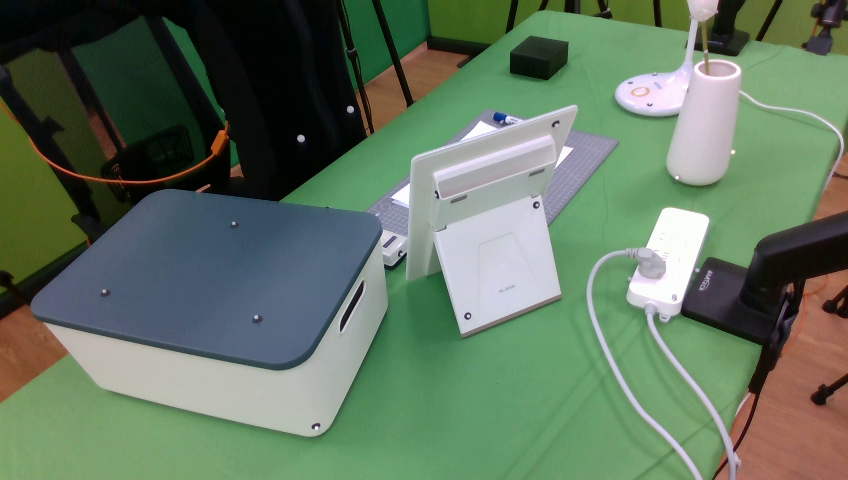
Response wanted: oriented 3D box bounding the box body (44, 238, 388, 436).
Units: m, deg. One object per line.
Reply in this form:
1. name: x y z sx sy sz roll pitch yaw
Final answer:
1. box body: -0.251 0.088 0.799 0.362 0.161 0.254 7 42 16

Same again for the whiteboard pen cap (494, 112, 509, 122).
1. whiteboard pen cap: 0.161 -0.253 1.248 0.033 0.018 0.018 27 51 36

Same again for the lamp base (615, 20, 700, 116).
1. lamp base: 0.484 -0.364 1.211 0.180 0.181 0.159 -15 41 -14

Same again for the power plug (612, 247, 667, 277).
1. power plug: 0.306 0.031 0.852 0.072 0.053 0.035 21 48 37

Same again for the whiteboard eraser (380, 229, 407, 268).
1. whiteboard eraser: -0.081 0.007 0.963 0.112 0.042 0.056 19 48 27

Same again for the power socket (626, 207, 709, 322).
1. power socket: 0.360 0.026 0.886 0.072 0.033 0.227 17 46 27

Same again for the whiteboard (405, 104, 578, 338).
1. whiteboard: 0.103 0.003 0.787 0.218 0.306 0.143 -19 62 -14

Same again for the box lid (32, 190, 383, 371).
1. box lid: -0.257 0.032 0.750 0.370 0.015 0.263 7 41 16

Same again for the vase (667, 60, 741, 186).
1. vase: 0.463 -0.189 0.994 0.098 0.201 0.097 -4 40 4

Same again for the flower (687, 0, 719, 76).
1. flower: 0.436 -0.242 0.934 0.038 0.364 0.043 -24 49 8

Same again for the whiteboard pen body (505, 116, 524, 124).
1. whiteboard pen body: 0.203 -0.232 1.213 0.139 0.017 0.017 28 51 36
